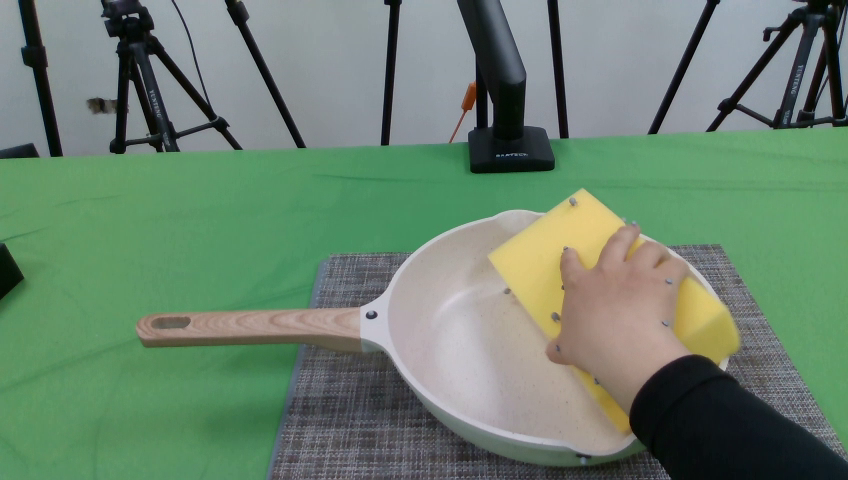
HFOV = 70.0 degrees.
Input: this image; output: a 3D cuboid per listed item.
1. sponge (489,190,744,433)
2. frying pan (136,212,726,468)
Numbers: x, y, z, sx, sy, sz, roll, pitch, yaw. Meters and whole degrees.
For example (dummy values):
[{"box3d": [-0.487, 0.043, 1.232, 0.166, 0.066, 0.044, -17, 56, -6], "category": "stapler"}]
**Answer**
[{"box3d": [0.156, 0.051, 0.536, 0.118, 0.061, 0.204, -38, 34, 4], "category": "sponge"}, {"box3d": [0.005, 0.078, 0.533, 0.489, 0.103, 0.303, 2, 34, -6], "category": "frying pan"}]
